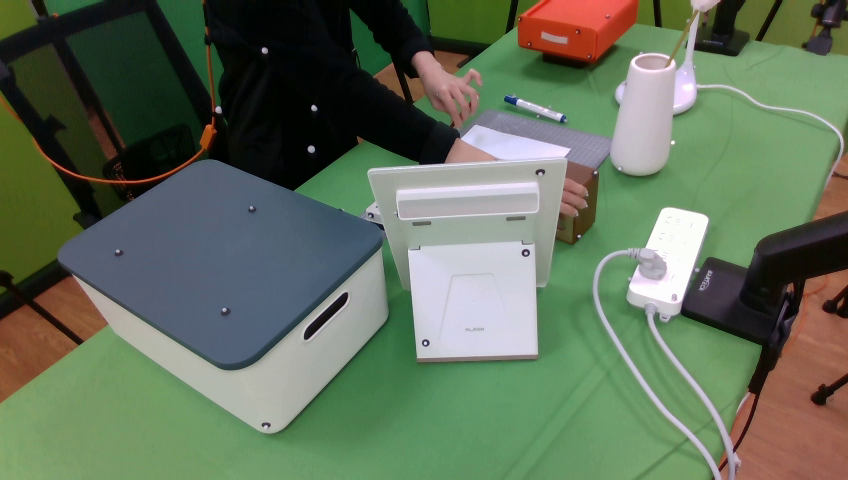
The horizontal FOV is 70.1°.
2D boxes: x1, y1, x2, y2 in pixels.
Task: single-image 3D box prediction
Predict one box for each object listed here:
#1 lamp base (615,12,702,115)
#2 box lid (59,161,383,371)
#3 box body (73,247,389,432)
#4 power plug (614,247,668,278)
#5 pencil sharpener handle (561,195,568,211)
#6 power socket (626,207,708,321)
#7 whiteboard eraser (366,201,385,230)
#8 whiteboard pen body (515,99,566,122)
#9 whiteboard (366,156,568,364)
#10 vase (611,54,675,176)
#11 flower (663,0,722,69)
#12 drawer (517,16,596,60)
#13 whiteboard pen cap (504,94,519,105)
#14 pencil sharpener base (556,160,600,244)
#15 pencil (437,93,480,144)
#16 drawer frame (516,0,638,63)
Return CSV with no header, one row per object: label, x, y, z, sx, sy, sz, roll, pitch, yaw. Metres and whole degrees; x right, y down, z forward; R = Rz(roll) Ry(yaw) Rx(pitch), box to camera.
lamp base,0.484,-0.363,1.211,0.180,0.181,0.159,-15,41,-14
box lid,-0.262,0.010,0.777,0.369,0.015,0.264,21,48,29
box body,-0.255,0.065,0.827,0.361,0.161,0.255,21,48,29
power plug,0.306,0.031,0.851,0.072,0.053,0.035,24,49,33
pencil sharpener handle,0.193,-0.038,0.909,0.035,0.068,0.031,24,50,34
power socket,0.359,0.025,0.886,0.072,0.033,0.227,16,46,26
whiteboard eraser,-0.037,-0.038,1.006,0.112,0.042,0.055,16,48,25
whiteboard pen body,0.234,-0.274,1.262,0.139,0.017,0.017,28,51,29
whiteboard,0.059,0.050,0.738,0.217,0.307,0.143,-2,60,6
vase,0.377,-0.209,1.031,0.098,0.201,0.097,-3,40,3
flower,0.379,-0.261,0.965,0.044,0.362,0.038,20,53,5
drawer,0.352,-0.506,1.405,0.193,0.073,0.212,23,49,32
whiteboard pen cap,0.190,-0.299,1.292,0.033,0.018,0.018,29,52,28
pencil sharpener base,0.227,-0.057,0.945,0.061,0.107,0.077,25,51,33
pencil,0.066,-0.233,1.151,0.012,0.012,0.194,14,45,23
drawer frame,0.355,-0.508,1.411,0.200,0.083,0.214,23,51,32
